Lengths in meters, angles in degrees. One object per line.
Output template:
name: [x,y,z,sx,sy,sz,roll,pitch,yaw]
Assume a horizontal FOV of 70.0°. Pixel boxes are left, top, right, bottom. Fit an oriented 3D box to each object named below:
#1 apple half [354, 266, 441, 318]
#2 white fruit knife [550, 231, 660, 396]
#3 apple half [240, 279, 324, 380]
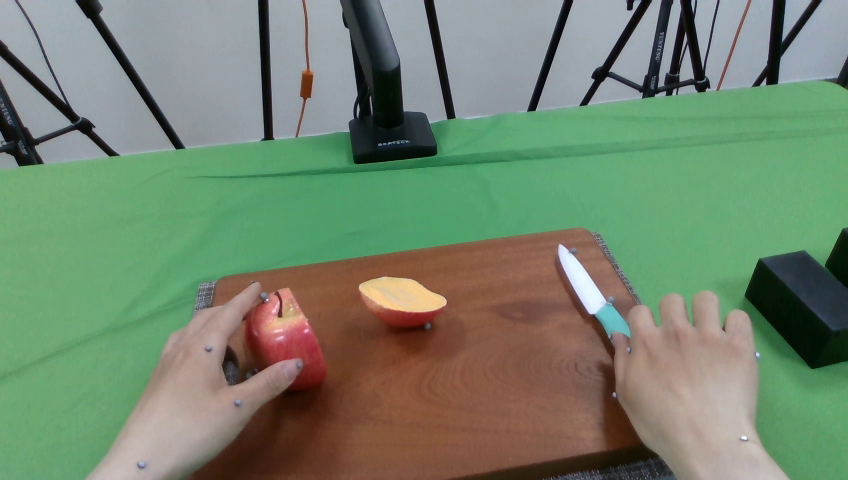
apple half: [-0.028,0.053,0.551,0.081,0.033,0.081,12,19,-4]
white fruit knife: [0.160,0.055,0.556,0.027,0.016,0.205,-12,42,-7]
apple half: [-0.121,0.080,0.498,0.053,0.075,0.080,-26,48,-18]
